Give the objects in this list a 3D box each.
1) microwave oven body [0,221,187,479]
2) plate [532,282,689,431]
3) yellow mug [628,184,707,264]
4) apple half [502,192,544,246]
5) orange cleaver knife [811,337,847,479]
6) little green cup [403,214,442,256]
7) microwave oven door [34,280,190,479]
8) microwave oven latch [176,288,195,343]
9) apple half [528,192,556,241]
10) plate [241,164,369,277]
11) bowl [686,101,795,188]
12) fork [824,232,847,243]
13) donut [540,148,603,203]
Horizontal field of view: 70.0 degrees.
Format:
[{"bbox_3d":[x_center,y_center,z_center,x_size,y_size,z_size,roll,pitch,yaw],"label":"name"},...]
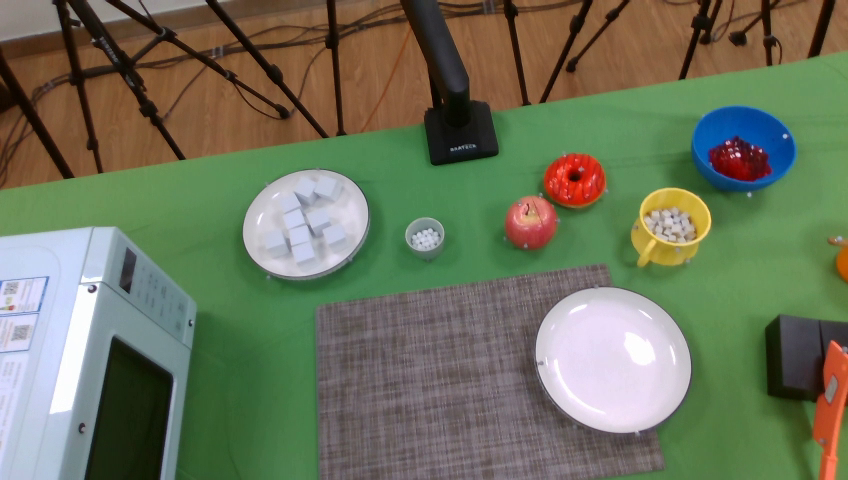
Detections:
[{"bbox_3d":[-0.510,0.236,0.746,0.326,0.262,0.437,-6,62,2],"label":"microwave oven body"},{"bbox_3d":[0.253,0.159,0.835,0.209,0.038,0.207,-3,61,5],"label":"plate"},{"bbox_3d":[0.354,-0.015,0.906,0.099,0.064,0.130,36,72,22],"label":"yellow mug"},{"bbox_3d":[0.147,-0.027,0.932,0.053,0.075,0.080,-18,65,1],"label":"apple half"},{"bbox_3d":[0.497,0.227,0.751,0.012,0.077,0.211,8,93,14],"label":"orange cleaver knife"},{"bbox_3d":[-0.001,-0.005,0.955,0.061,0.039,0.061,-3,61,5],"label":"little green cup"},{"bbox_3d":[-0.363,0.256,0.714,0.039,0.246,0.352,-6,61,3],"label":"microwave oven door"},{"bbox_3d":[-0.364,0.114,0.907,0.030,0.030,0.078,-4,62,3],"label":"microwave oven latch"},{"bbox_3d":[0.185,-0.038,0.932,0.033,0.082,0.080,-18,61,2],"label":"apple half"},{"bbox_3d":[-0.190,-0.030,0.988,0.207,0.039,0.206,-3,61,5],"label":"plate"},{"bbox_3d":[0.483,-0.135,0.951,0.151,0.077,0.150,-3,62,5],"label":"bowl"},{"bbox_3d":[0.587,0.007,0.821,0.209,0.018,0.028,11,53,-39],"label":"fork"},{"bbox_3d":[0.239,-0.104,0.980,0.099,0.048,0.098,-3,64,6],"label":"donut"}]
